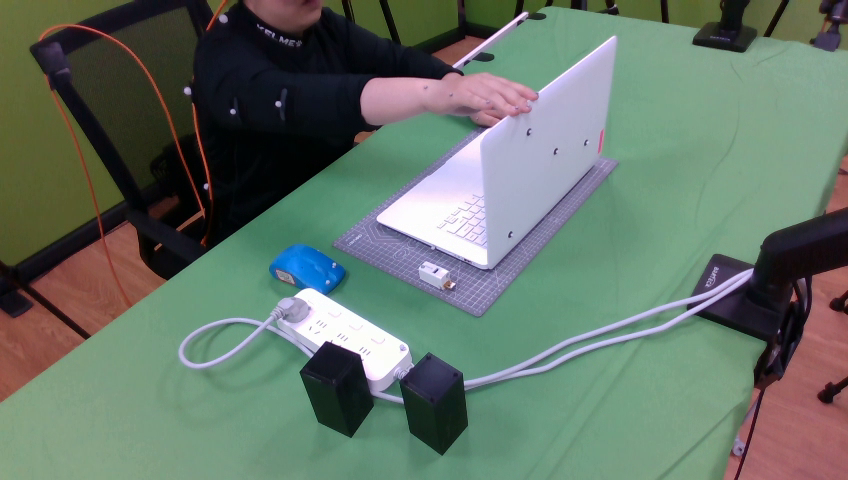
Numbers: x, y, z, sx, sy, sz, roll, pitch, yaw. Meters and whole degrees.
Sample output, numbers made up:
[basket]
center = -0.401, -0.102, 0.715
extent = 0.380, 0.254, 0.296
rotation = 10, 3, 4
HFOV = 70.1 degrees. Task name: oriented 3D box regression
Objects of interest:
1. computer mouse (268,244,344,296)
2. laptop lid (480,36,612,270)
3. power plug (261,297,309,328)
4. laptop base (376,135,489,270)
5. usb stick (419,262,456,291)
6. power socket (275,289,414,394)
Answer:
[computer mouse]
center = -0.182, 0.044, 0.933
extent = 0.116, 0.041, 0.063
rotation = 23, 47, 25
[laptop lid]
center = 0.196, -0.136, 0.917
extent = 0.013, 0.243, 0.358
rotation = 24, 48, 33
[power plug]
center = -0.193, 0.107, 0.831
extent = 0.073, 0.053, 0.035
rotation = -32, 44, -26
[laptop base]
center = 0.115, -0.086, 1.057
extent = 0.233, 0.023, 0.355
rotation = 21, 48, 34
[usb stick]
center = 0.021, 0.056, 0.892
extent = 0.058, 0.027, 0.021
rotation = 25, 47, 30
[power socket]
center = -0.115, 0.133, 0.820
extent = 0.225, 0.033, 0.072
rotation = 25, 49, 32
